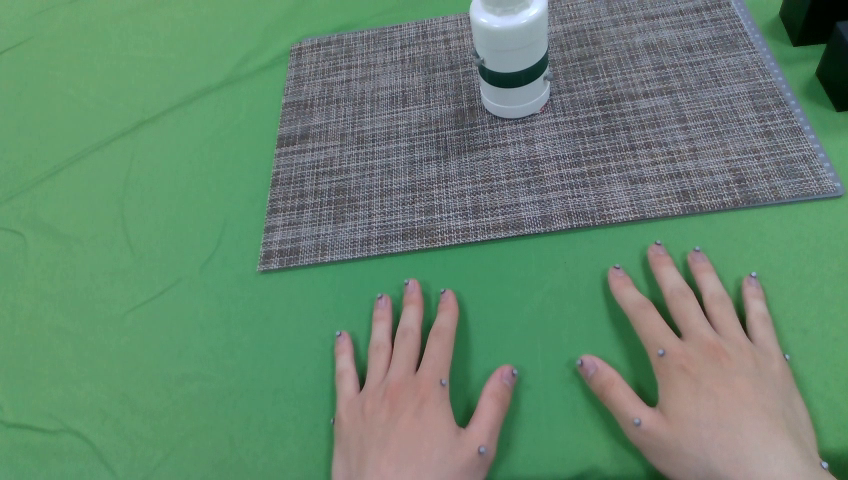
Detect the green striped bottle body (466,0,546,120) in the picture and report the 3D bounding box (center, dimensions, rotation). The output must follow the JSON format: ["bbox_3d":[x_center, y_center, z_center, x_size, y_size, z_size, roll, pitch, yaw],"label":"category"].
[{"bbox_3d":[0.071,-0.166,0.514,0.063,0.120,0.062,-6,54,8],"label":"green striped bottle body"}]

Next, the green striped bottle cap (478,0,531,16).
[{"bbox_3d":[0.063,-0.195,0.472,0.044,0.020,0.044,-7,55,11],"label":"green striped bottle cap"}]
